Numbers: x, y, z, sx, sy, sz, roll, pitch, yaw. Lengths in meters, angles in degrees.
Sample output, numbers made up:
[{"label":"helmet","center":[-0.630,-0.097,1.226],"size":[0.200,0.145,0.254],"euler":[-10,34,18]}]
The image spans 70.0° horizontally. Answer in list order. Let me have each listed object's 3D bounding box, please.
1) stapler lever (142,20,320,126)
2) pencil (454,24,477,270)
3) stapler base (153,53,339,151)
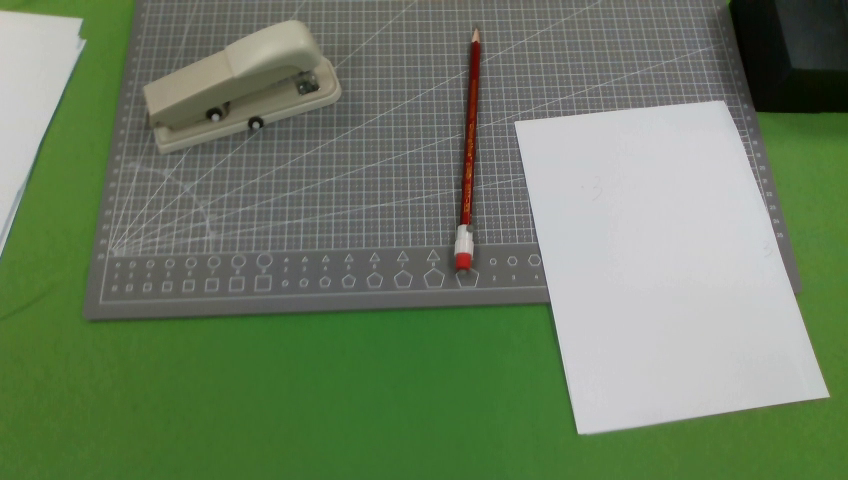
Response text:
[{"label":"stapler lever","center":[-0.125,-0.109,0.391],"size":[0.118,0.040,0.026],"euler":[-19,69,-8]},{"label":"pencil","center":[0.030,-0.071,0.415],"size":[0.012,0.012,0.192],"euler":[4,68,0]},{"label":"stapler base","center":[-0.124,-0.101,0.414],"size":[0.131,0.024,0.041],"euler":[-20,70,-7]}]
